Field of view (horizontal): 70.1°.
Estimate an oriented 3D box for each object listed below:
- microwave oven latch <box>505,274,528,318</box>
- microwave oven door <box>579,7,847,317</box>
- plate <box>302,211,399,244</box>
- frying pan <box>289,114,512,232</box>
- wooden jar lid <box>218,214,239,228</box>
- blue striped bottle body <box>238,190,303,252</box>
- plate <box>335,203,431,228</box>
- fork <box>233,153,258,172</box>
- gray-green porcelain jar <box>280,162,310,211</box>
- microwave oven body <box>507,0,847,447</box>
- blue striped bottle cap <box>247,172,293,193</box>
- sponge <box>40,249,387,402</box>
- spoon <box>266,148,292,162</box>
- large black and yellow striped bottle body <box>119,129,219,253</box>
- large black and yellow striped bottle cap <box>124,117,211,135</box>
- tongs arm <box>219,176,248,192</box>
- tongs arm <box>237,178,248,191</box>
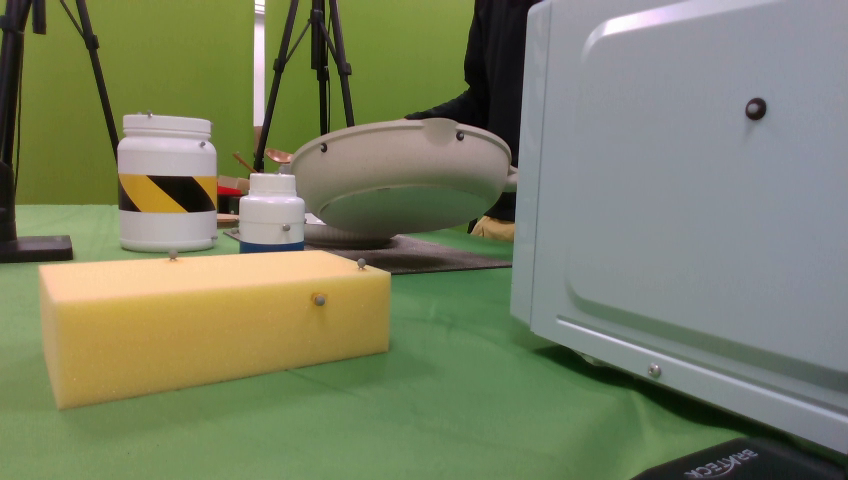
[{"bbox_3d":[0.100,0.041,0.471,0.079,0.029,0.030,-1,7,-28],"label":"microwave oven latch"},{"bbox_3d":[0.294,-0.067,0.570,0.358,0.243,0.039,-3,9,-31],"label":"microwave oven door"},{"bbox_3d":[-0.139,-0.022,1.021,0.209,0.038,0.209,2,8,0],"label":"plate"},{"bbox_3d":[0.069,-0.088,0.833,0.490,0.102,0.306,-9,-10,-20],"label":"frying pan"},{"bbox_3d":[-0.404,-0.037,1.169,0.108,0.020,0.108,3,7,0],"label":"wooden jar lid"},{"bbox_3d":[-0.153,-0.007,0.606,0.063,0.120,0.063,2,7,0],"label":"blue striped bottle body"},{"bbox_3d":[-0.089,-0.053,1.309,0.208,0.039,0.207,2,8,0],"label":"plate"},{"bbox_3d":[-0.396,-0.143,1.486,0.028,0.018,0.208,21,-25,45],"label":"fork"},{"bbox_3d":[-0.238,-0.092,1.221,0.106,0.126,0.106,2,8,0],"label":"gray-green porcelain jar"},{"bbox_3d":[0.331,-0.042,0.425,0.444,0.260,0.324,-2,8,-31],"label":"microwave oven body"},{"bbox_3d":[-0.152,-0.057,0.598,0.044,0.020,0.044,3,6,0],"label":"blue striped bottle cap"},{"bbox_3d":[-0.142,0.047,0.419,0.208,0.061,0.117,-3,8,-36],"label":"sponge"},{"bbox_3d":[-0.218,-0.164,1.218,0.194,0.021,0.041,2,36,-14],"label":"spoon"},{"bbox_3d":[-0.367,-0.080,0.876,0.131,0.184,0.130,2,7,0],"label":"large black and yellow striped bottle body"},{"bbox_3d":[-0.366,-0.163,0.866,0.115,0.019,0.115,3,7,0],"label":"large black and yellow striped bottle cap"},{"bbox_3d":[-0.286,-0.104,1.445,0.389,0.027,0.028,9,-4,-23],"label":"tongs arm"},{"bbox_3d":[-0.242,-0.095,1.374,0.387,0.026,0.050,9,0,-37],"label":"tongs arm"}]
